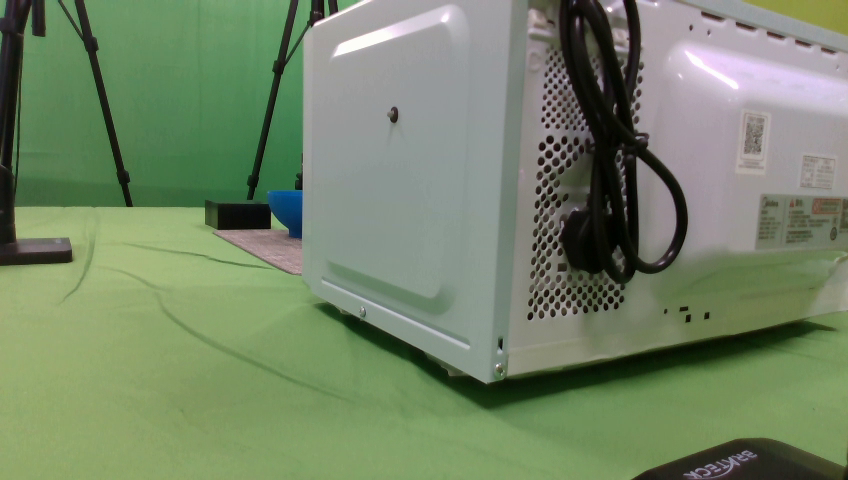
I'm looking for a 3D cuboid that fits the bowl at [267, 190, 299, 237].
[{"bbox_3d":[-0.202,-0.046,1.069,0.151,0.077,0.151,3,7,0],"label":"bowl"}]

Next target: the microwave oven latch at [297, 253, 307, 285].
[{"bbox_3d":[-0.082,0.027,0.583,0.079,0.029,0.030,-1,7,-33],"label":"microwave oven latch"}]

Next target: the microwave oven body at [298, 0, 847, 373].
[{"bbox_3d":[0.151,-0.055,0.543,0.444,0.260,0.324,-1,7,-33],"label":"microwave oven body"}]

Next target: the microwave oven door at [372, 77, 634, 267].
[{"bbox_3d":[0.096,-0.099,0.837,0.355,0.243,0.039,5,8,20],"label":"microwave oven door"}]
